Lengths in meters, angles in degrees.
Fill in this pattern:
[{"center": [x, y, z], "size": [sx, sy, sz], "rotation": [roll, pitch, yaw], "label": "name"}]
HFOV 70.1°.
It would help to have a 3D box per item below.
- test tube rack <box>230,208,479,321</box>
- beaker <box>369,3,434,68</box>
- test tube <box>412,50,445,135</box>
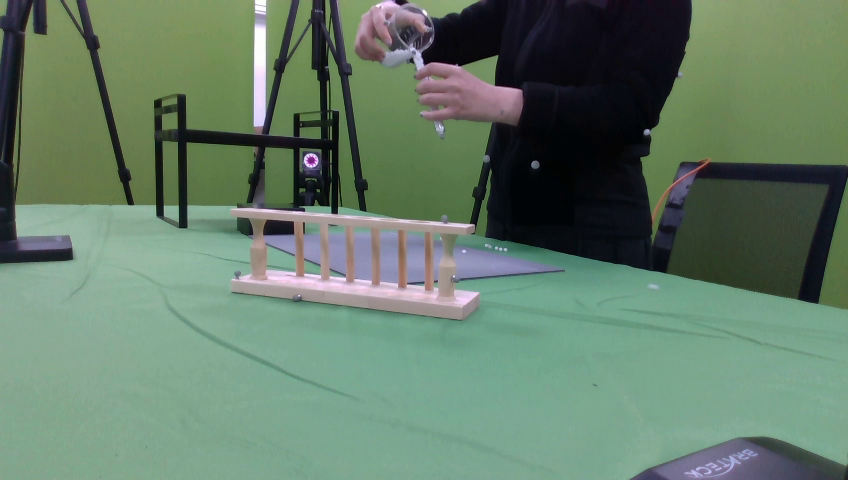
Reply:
[{"center": [-0.069, 0.017, 0.598], "size": [0.242, 0.085, 0.067], "rotation": [5, 8, 18], "label": "test tube rack"}, {"center": [-0.040, -0.330, 0.999], "size": [0.074, 0.084, 0.100], "rotation": [-6, -2, -31], "label": "beaker"}, {"center": [0.007, -0.229, 0.937], "size": [0.017, 0.150, 0.017], "rotation": [-15, -18, -5], "label": "test tube"}]
